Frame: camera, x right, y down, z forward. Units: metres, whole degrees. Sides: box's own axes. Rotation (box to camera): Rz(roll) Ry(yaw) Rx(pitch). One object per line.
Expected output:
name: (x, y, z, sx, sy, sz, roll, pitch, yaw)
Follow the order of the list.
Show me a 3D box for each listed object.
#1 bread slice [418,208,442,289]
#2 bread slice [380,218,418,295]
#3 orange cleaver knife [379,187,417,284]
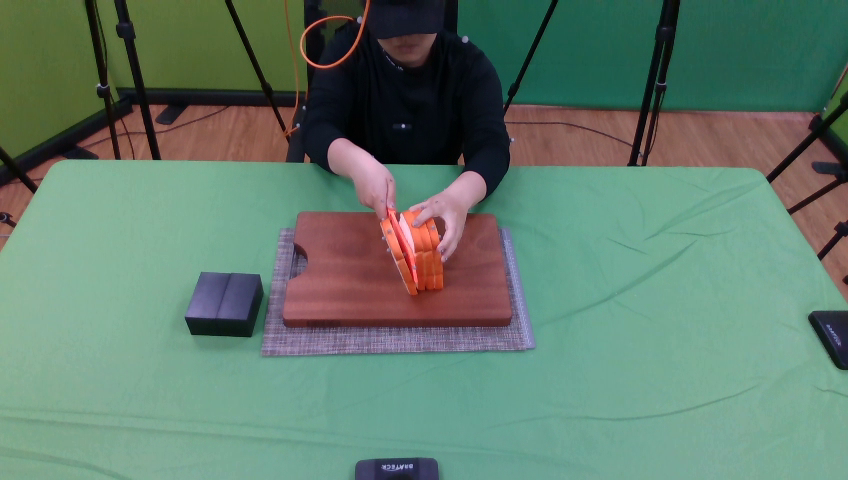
bread slice: (0.010, 0.012, 1.076, 0.018, 0.135, 0.106, -13, 50, -10)
bread slice: (-0.047, 0.023, 1.062, 0.019, 0.132, 0.104, -23, 48, -3)
orange cleaver knife: (-0.047, -0.012, 1.097, 0.012, 0.077, 0.210, -15, 48, -11)
